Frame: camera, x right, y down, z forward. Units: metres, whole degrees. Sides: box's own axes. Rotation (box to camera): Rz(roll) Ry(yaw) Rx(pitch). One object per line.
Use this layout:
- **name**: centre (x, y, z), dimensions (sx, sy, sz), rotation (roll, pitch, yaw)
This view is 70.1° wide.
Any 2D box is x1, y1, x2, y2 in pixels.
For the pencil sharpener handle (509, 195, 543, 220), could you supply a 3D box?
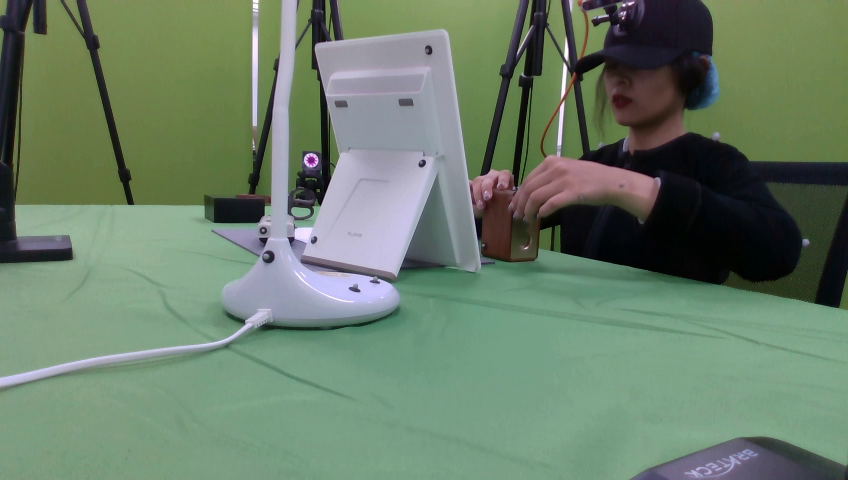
- **pencil sharpener handle**: centre (0.152, -0.047, 0.859), dimensions (0.068, 0.036, 0.030), rotation (12, 1, -35)

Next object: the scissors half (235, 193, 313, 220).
- **scissors half**: centre (-0.325, -0.077, 1.319), dimensions (0.176, 0.040, 0.012), rotation (17, 6, -31)

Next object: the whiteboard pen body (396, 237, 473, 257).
- **whiteboard pen body**: centre (0.014, 0.012, 0.886), dimensions (0.140, 0.017, 0.017), rotation (10, 10, 38)

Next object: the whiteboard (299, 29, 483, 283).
- **whiteboard**: centre (-0.074, -0.082, 0.742), dimensions (0.216, 0.305, 0.144), rotation (9, 30, 38)

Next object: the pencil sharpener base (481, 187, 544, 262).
- **pencil sharpener base**: centre (0.134, -0.024, 0.913), dimensions (0.062, 0.107, 0.076), rotation (-2, 9, -34)

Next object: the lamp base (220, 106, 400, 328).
- **lamp base**: centre (-0.101, -0.023, 0.531), dimensions (0.160, 0.180, 0.179), rotation (4, 10, 10)

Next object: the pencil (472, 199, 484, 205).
- **pencil**: centre (0.091, -0.061, 0.978), dimensions (0.012, 0.012, 0.193), rotation (-3, 8, -35)

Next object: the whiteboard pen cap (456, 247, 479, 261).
- **whiteboard pen cap**: centre (0.060, 0.020, 0.851), dimensions (0.033, 0.018, 0.018), rotation (9, 10, 37)

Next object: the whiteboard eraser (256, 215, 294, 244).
- **whiteboard eraser**: centre (-0.232, -0.016, 0.951), dimensions (0.056, 0.042, 0.112), rotation (2, 7, -12)

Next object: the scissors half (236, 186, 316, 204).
- **scissors half**: centre (-0.320, -0.097, 1.316), dimensions (0.176, 0.040, 0.013), rotation (-3, 11, -29)
